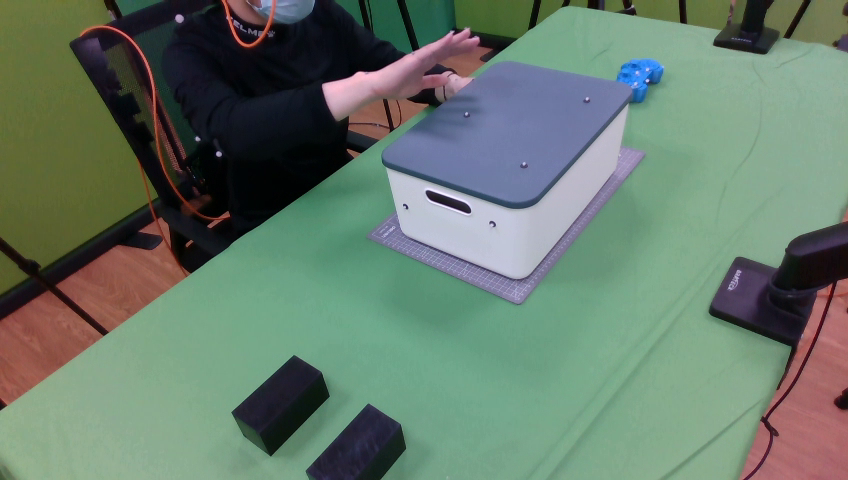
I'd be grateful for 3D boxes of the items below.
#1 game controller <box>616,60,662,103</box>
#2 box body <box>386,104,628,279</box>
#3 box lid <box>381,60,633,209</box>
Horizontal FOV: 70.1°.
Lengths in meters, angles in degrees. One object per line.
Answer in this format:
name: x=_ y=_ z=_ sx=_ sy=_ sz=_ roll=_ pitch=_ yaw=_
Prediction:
game controller: x=0.442 y=-0.345 z=1.288 sx=0.096 sy=0.052 sz=0.155 roll=25 pitch=50 yaw=27
box body: x=0.142 y=-0.125 z=0.982 sx=0.252 sy=0.161 sz=0.365 roll=22 pitch=48 yaw=29
box lid: x=0.137 y=-0.182 z=0.935 sx=0.261 sy=0.015 sz=0.372 roll=22 pitch=48 yaw=29
